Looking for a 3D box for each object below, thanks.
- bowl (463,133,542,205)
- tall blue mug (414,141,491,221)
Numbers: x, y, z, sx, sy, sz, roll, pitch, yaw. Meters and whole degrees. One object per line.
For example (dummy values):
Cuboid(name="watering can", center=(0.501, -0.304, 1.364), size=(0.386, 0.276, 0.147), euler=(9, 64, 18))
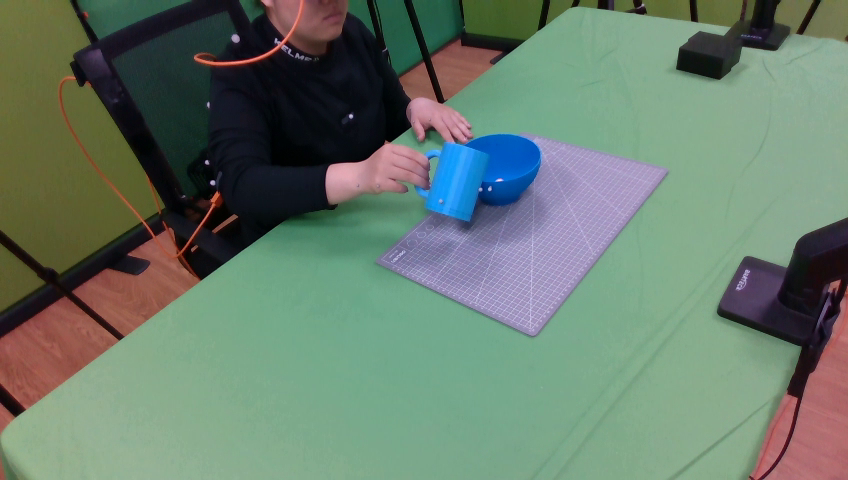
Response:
Cuboid(name="bowl", center=(0.129, -0.112, 1.045), size=(0.151, 0.077, 0.150), euler=(-5, 40, 5))
Cuboid(name="tall blue mug", center=(0.037, -0.096, 0.945), size=(0.107, 0.108, 0.078), euler=(17, 5, 0))
